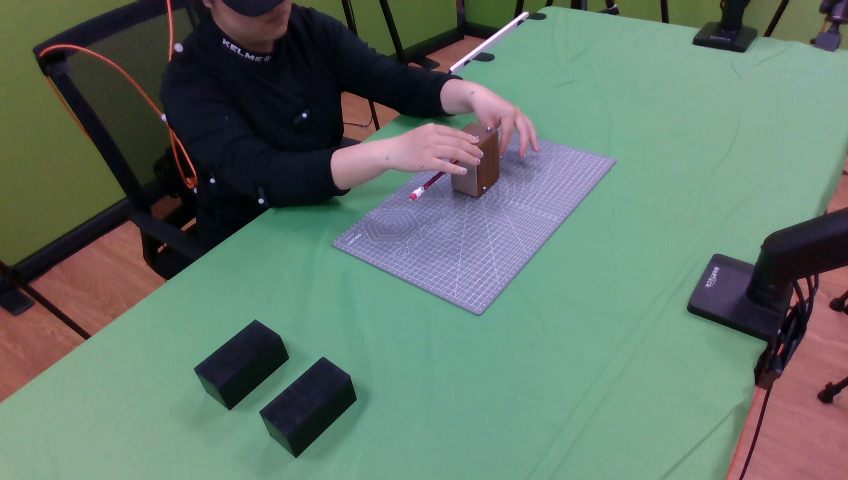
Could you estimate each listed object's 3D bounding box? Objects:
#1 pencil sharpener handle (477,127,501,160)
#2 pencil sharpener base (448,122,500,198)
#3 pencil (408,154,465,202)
[{"bbox_3d":[0.120,-0.177,1.072,0.035,0.068,0.031,14,43,36],"label":"pencil sharpener handle"},{"bbox_3d":[0.089,-0.139,1.052,0.061,0.107,0.077,21,47,30],"label":"pencil sharpener base"},{"bbox_3d":[0.037,-0.116,0.987,0.012,0.012,0.194,22,47,31],"label":"pencil"}]
